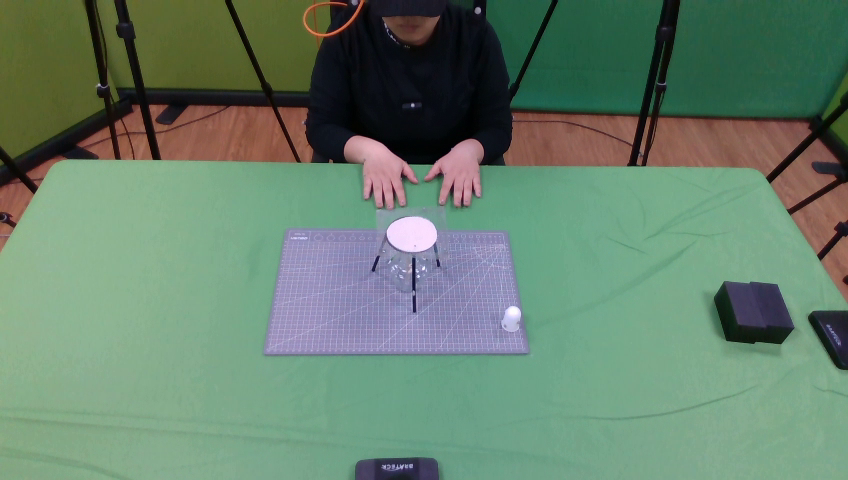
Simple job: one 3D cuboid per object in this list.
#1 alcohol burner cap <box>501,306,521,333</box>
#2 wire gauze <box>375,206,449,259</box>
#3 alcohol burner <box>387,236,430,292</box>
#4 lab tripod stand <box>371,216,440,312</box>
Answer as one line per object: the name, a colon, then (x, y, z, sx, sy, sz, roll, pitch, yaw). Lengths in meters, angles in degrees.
alcohol burner cap: (0.155, 0.137, 1.061, 0.034, 0.048, 0.033, 2, 45, -1)
wire gauze: (-0.022, -0.014, 1.035, 0.125, 0.011, 0.120, -1, 46, -3)
alcohol burner: (-0.028, 0.038, 1.093, 0.078, 0.120, 0.077, 1, 46, -1)
lab tripod stand: (-0.029, 0.033, 1.084, 0.148, 0.132, 0.147, 1, 47, -1)
